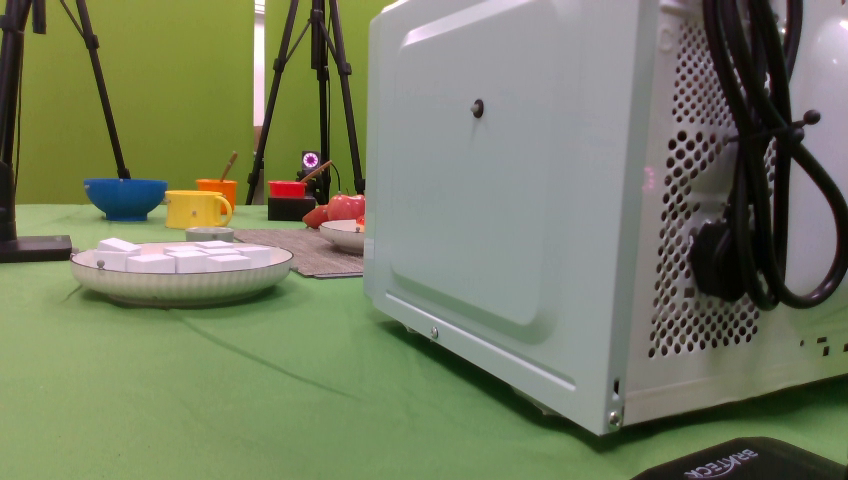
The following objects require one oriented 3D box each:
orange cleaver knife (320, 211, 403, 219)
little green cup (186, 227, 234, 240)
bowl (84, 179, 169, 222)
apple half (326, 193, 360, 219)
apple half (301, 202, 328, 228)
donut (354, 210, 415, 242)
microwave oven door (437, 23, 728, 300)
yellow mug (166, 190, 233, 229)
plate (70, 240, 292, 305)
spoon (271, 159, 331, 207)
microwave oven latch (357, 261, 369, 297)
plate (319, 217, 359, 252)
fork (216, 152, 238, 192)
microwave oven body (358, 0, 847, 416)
[{"bbox_3d":[-0.142,-0.057,1.394,0.077,0.012,0.212,2,7,44],"label":"orange cleaver knife"},{"bbox_3d":[-0.284,0.005,0.805,0.061,0.038,0.061,2,8,0],"label":"little green cup"},{"bbox_3d":[-0.584,-0.078,1.194,0.151,0.077,0.151,3,8,0],"label":"bowl"},{"bbox_3d":[-0.135,-0.047,1.089,0.081,0.074,0.053,5,10,-12],"label":"apple half"},{"bbox_3d":[-0.194,-0.043,1.173,0.081,0.032,0.081,-22,-15,-6],"label":"apple half"},{"bbox_3d":[-0.062,-0.020,0.955,0.099,0.048,0.099,4,7,0],"label":"donut"},{"bbox_3d":[0.181,-0.072,0.621,0.358,0.243,0.039,-2,8,-29],"label":"microwave oven door"},{"bbox_3d":[-0.415,-0.057,1.132,0.130,0.064,0.100,6,8,16],"label":"yellow mug"},{"bbox_3d":[-0.241,0.031,0.618,0.208,0.039,0.207,2,8,0],"label":"plate"},{"bbox_3d":[-0.307,-0.141,1.514,0.193,0.021,0.041,-41,3,8],"label":"spoon"},{"bbox_3d":[-0.019,0.033,0.531,0.079,0.029,0.030,-1,7,-27],"label":"microwave oven latch"},{"bbox_3d":[-0.059,-0.007,0.939,0.209,0.038,0.209,3,8,0],"label":"plate"},{"bbox_3d":[-0.455,-0.132,1.367,0.028,0.018,0.207,-2,-35,-37],"label":"fork"},{"bbox_3d":[0.211,-0.047,0.474,0.444,0.260,0.324,-1,7,-28],"label":"microwave oven body"}]
